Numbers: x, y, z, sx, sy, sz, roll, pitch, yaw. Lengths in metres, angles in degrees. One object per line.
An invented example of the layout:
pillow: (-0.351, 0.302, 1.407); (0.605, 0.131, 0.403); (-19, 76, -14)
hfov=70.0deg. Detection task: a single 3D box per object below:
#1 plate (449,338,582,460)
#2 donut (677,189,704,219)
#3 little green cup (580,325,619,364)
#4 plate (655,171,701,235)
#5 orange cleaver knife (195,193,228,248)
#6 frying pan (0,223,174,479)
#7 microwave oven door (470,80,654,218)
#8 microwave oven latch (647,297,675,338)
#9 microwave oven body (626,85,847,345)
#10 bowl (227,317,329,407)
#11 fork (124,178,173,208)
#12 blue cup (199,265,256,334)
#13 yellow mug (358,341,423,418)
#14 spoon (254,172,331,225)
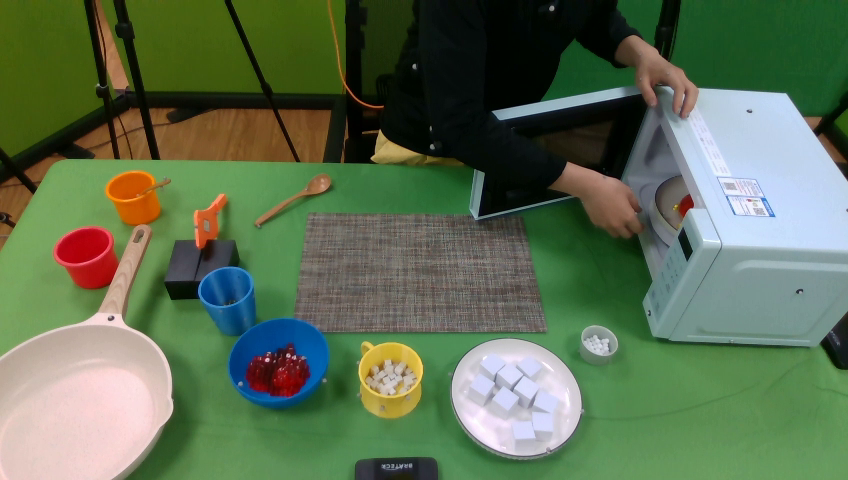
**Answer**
plate: (0.141, 0.251, 0.955); (0.208, 0.039, 0.206); (2, 46, -2)
donut: (0.541, -0.060, 1.171); (0.099, 0.048, 0.098); (1, 44, 0)
little green cup: (0.296, 0.180, 1.032); (0.061, 0.039, 0.061); (1, 45, -1)
plate: (0.554, -0.052, 1.187); (0.209, 0.038, 0.208); (2, 48, -2)
orange cleaver knife: (-0.406, -0.041, 1.163); (0.012, 0.077, 0.210); (0, 18, -3)
frying pan: (-0.504, 0.169, 0.941); (0.307, 0.103, 0.485); (5, 54, -1)
microwave oven door: (0.271, -0.179, 1.207); (0.356, 0.245, 0.039); (-14, 49, -16)
microwave oven latch: (0.413, 0.133, 1.060); (0.030, 0.029, 0.078); (5, 46, 2)
microwave oven body: (0.568, -0.054, 1.116); (0.326, 0.261, 0.439); (2, 46, -1)
bowl: (-0.222, 0.203, 0.947); (0.151, 0.077, 0.150); (2, 46, -2)
fork: (-0.525, -0.090, 1.154); (0.207, 0.019, 0.028); (-17, 27, 45)
blue cup: (-0.321, 0.107, 1.014); (0.093, 0.101, 0.092); (2, 48, -2)
yellow mug: (-0.062, 0.210, 0.961); (0.100, 0.064, 0.130); (-29, 54, -27)
spoon: (-0.272, -0.087, 1.257); (0.041, 0.022, 0.193); (45, 57, 13)
